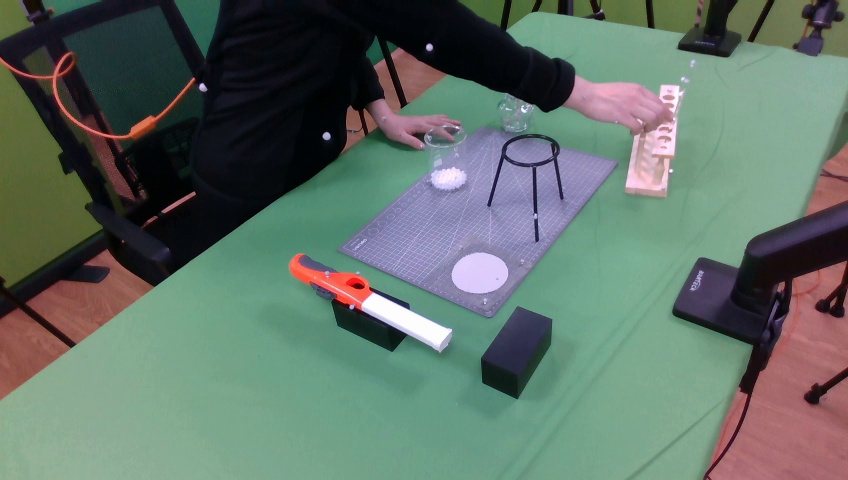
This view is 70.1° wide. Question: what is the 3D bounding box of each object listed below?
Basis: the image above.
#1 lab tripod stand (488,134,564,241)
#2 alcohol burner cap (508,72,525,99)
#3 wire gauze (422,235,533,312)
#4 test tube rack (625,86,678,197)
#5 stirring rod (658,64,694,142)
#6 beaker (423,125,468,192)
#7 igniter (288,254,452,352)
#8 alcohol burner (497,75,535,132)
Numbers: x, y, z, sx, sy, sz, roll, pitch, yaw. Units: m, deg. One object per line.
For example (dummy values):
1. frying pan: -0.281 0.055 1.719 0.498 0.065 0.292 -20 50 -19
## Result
1. lab tripod stand: 0.168 -0.092 0.972 0.148 0.132 0.147 -5 41 5
2. alcohol burner cap: 0.181 -0.306 1.186 0.034 0.048 0.033 -7 39 6
3. wire gauze: 0.081 0.049 0.914 0.120 0.011 0.125 26 52 32
4. test tube rack: 0.412 -0.184 1.088 0.066 0.085 0.242 9 43 18
5. stirring rod: 0.409 -0.213 1.000 0.006 0.176 0.014 37 57 25
6. beaker: 0.042 -0.144 1.078 0.073 0.100 0.084 28 51 34
7. igniter: -0.083 0.079 0.818 0.274 0.025 0.057 23 46 27
8. alcohol burner: 0.184 -0.278 1.210 0.078 0.119 0.077 -3 43 3
